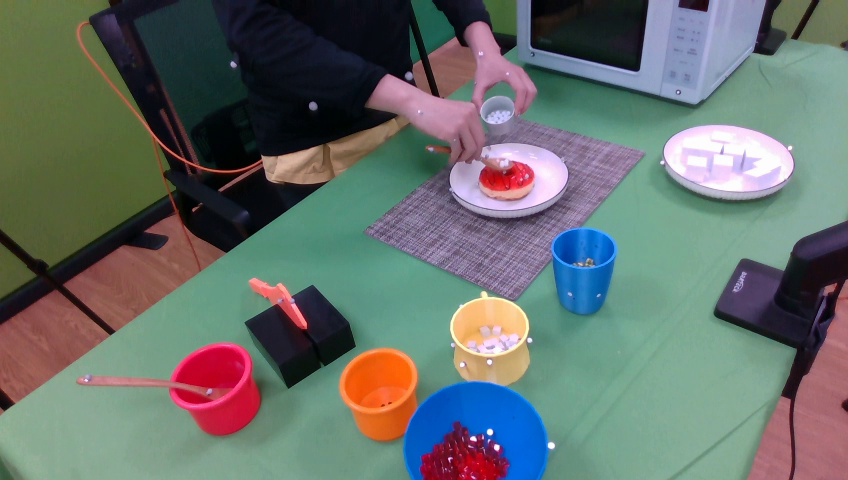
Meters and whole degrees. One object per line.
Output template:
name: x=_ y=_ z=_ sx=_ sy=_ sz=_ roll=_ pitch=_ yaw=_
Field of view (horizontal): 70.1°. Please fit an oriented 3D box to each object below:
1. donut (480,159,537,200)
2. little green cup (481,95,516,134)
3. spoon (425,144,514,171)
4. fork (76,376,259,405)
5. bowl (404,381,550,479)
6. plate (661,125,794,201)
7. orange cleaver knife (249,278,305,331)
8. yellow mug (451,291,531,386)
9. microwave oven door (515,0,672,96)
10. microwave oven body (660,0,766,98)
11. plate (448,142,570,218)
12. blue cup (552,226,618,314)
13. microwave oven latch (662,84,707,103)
donut: x=0.146 y=-0.106 z=1.043 sx=0.099 sy=0.048 sz=0.098 roll=-5 pitch=37 yaw=4
little green cup: x=0.132 y=-0.219 z=1.067 sx=0.061 sy=0.039 sz=0.061 roll=-4 pitch=64 yaw=8
spoon: x=0.074 y=-0.134 z=0.957 sx=0.195 sy=0.021 sz=0.041 roll=10 pitch=23 yaw=-44
fork: x=-0.295 y=0.176 z=0.716 sx=0.209 sy=0.018 sz=0.028 roll=19 pitch=26 yaw=-36
bowl: x=0.058 y=0.235 z=0.645 sx=0.151 sy=0.077 sz=0.150 roll=-4 pitch=39 yaw=4
plate: x=0.513 y=-0.128 z=1.035 sx=0.207 sy=0.039 sz=0.206 roll=-4 pitch=40 yaw=4
orange cleaver knife: x=-0.210 y=0.088 z=0.856 sx=0.012 sy=0.077 sz=0.210 roll=-28 pitch=15 yaw=-25
yellow mug: x=0.085 y=0.120 z=0.786 sx=0.100 sy=0.064 sz=0.130 roll=-7 pitch=39 yaw=1
microwave oven door: x=0.344 y=-0.455 z=1.260 sx=0.353 sy=0.245 sz=0.039 roll=26 pitch=51 yaw=33
microwave oven body: x=0.473 y=-0.513 z=1.317 sx=0.438 sy=0.261 sz=0.327 roll=26 pitch=51 yaw=34
plate: x=0.148 y=-0.101 z=1.053 sx=0.209 sy=0.038 sz=0.208 roll=-4 pitch=40 yaw=4
blue cup: x=0.218 y=0.047 z=0.826 sx=0.092 sy=0.100 sz=0.092 roll=-6 pitch=40 yaw=5
microwave oven latch: x=0.517 y=-0.296 z=1.204 sx=0.078 sy=0.029 sz=0.030 roll=26 pitch=52 yaw=35
